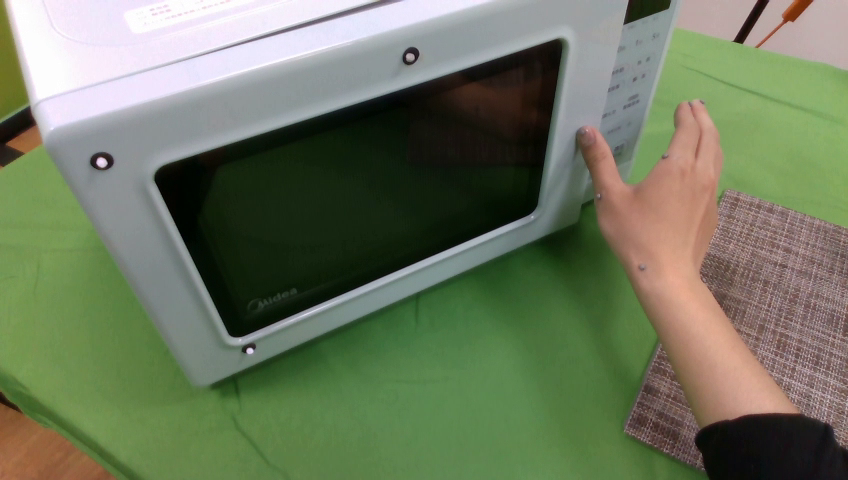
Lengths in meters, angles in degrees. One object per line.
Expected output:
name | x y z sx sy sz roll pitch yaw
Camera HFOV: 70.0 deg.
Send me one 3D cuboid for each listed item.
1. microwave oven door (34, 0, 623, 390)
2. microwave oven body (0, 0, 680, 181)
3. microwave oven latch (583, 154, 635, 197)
microwave oven door | -0.026 -0.041 0.427 0.356 0.246 0.039 -23 51 -18
microwave oven body | -0.069 -0.150 0.534 0.442 0.262 0.322 -26 52 -19
microwave oven latch | 0.163 -0.064 0.580 0.079 0.030 0.030 -24 52 -18
